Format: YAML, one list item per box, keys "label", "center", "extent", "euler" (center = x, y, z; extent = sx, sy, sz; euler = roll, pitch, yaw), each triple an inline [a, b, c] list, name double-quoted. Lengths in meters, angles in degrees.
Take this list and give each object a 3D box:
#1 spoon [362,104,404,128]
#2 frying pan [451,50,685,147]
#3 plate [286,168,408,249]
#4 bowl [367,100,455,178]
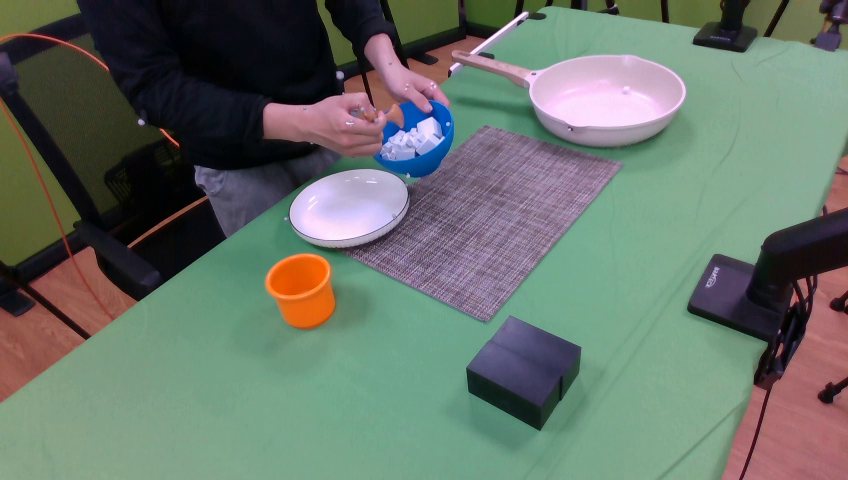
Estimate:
- label: "spoon"
  center: [-0.061, -0.188, 0.921]
  extent: [0.021, 0.041, 0.194]
  euler: [-16, 7, 19]
- label: "frying pan"
  center: [0.269, -0.316, 1.233]
  extent: [0.485, 0.103, 0.307]
  euler: [26, 49, 21]
- label: "plate"
  center: [-0.127, -0.050, 1.028]
  extent: [0.207, 0.039, 0.206]
  euler: [-5, 39, 5]
- label: "bowl"
  center: [-0.012, -0.156, 1.012]
  extent: [0.151, 0.077, 0.150]
  euler: [-13, 45, 14]
